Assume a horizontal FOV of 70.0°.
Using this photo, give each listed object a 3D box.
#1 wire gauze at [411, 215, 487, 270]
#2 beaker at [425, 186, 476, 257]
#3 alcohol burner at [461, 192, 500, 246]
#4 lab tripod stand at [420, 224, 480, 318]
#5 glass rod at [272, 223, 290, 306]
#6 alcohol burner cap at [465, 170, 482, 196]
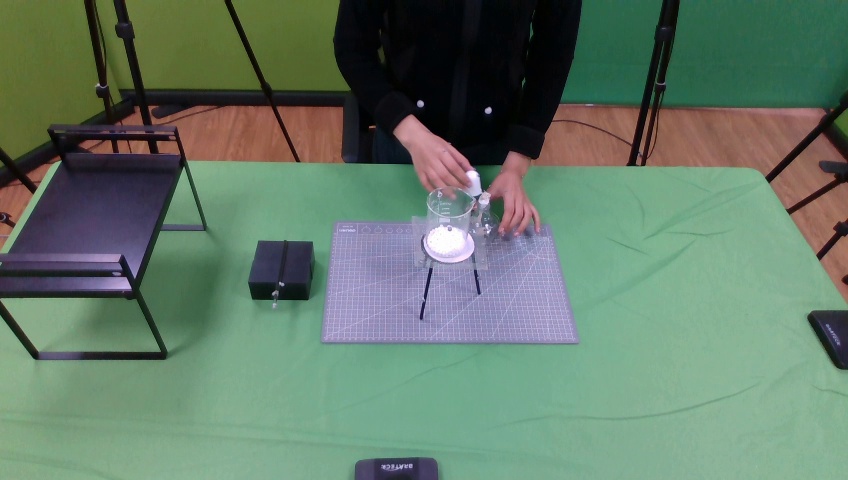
[{"bbox_3d":[0.041,0.003,1.026,0.125,0.011,0.120,0,46,-1],"label":"wire gauze"},{"bbox_3d":[0.041,-0.028,0.989,0.084,0.101,0.073,-11,48,-15],"label":"beaker"},{"bbox_3d":[0.112,-0.046,1.184,0.078,0.120,0.077,1,44,-1],"label":"alcohol burner"},{"bbox_3d":[0.034,0.051,1.070,0.148,0.132,0.147,3,48,-3],"label":"lab tripod stand"},{"bbox_3d":[-0.255,0.039,1.084,0.008,0.008,0.198,1,46,-3],"label":"glass rod"},{"bbox_3d":[0.092,-0.109,1.128,0.034,0.048,0.033,-3,43,3],"label":"alcohol burner cap"}]
